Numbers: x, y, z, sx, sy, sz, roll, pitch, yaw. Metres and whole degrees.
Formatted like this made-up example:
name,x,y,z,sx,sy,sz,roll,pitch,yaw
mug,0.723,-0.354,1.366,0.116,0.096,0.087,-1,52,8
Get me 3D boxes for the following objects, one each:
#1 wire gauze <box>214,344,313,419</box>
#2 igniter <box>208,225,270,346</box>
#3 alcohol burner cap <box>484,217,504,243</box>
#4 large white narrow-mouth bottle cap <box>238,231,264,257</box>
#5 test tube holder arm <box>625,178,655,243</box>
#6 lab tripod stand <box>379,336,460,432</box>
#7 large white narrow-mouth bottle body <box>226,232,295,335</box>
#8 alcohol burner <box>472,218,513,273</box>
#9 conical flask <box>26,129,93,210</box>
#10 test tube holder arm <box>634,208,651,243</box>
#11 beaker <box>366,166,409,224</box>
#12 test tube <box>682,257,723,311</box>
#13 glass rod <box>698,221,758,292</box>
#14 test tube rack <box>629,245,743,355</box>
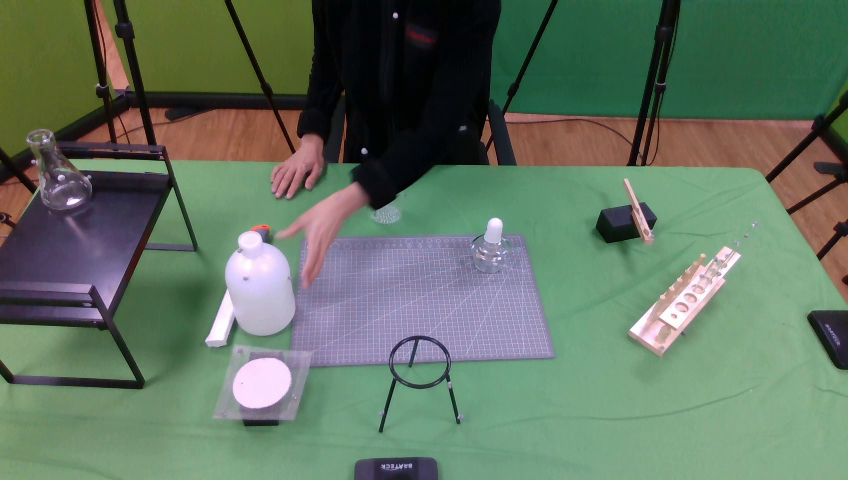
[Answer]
name,x,y,z,sx,sy,sz,roll,pitch,yaw
wire gauze,-0.241,0.213,0.915,0.121,0.011,0.124,5,46,1
igniter,-0.332,0.072,1.099,0.057,0.025,0.275,-4,45,10
alcohol burner cap,0.130,-0.021,1.107,0.034,0.048,0.033,4,41,-3
large white narrow-mouth bottle cap,-0.266,0.006,0.932,0.038,0.024,0.037,2,46,-2
test tube holder arm,0.433,-0.062,1.220,0.013,0.015,0.177,0,47,-3
lab tripod stand,-0.010,0.214,0.911,0.148,0.132,0.147,1,45,-1
large white narrow-mouth bottle body,-0.270,0.065,0.995,0.102,0.195,0.101,2,46,-2
alcohol burner,0.128,0.005,1.132,0.078,0.120,0.077,0,47,0
conical flask,-0.575,-0.113,0.946,0.075,0.122,0.075,2,46,-2
test tube holder arm,0.428,-0.030,1.189,0.010,0.015,0.087,1,47,-2
beaker,-0.074,-0.088,1.222,0.084,0.101,0.073,4,46,-1
test tube,0.475,0.080,1.037,0.017,0.151,0.017,1,50,-1
glass rod,0.527,0.035,1.059,0.008,0.200,0.008,5,49,-6
test tube rack,0.474,0.095,1.091,0.242,0.085,0.066,-34,56,-31
